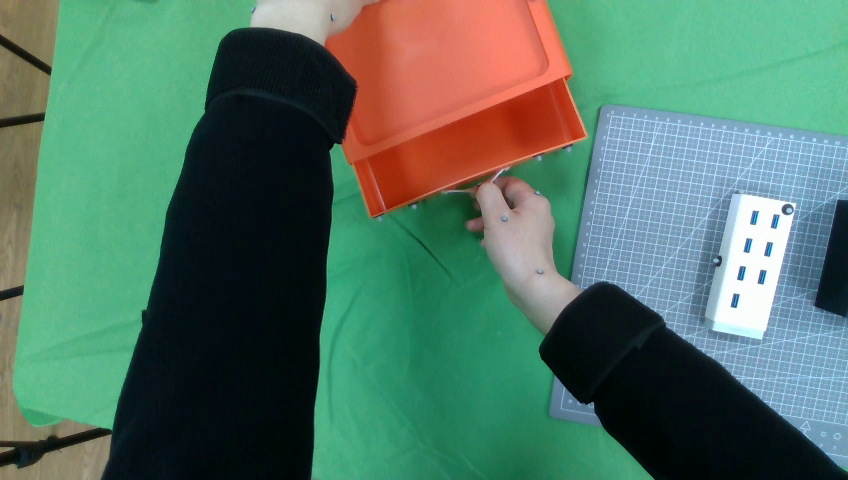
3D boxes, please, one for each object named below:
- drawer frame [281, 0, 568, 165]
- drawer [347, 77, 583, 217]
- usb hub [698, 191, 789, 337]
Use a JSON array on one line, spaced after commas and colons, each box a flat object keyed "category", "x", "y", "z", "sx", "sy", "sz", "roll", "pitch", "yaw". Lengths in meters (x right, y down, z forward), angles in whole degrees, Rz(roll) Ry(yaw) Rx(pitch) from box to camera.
[{"category": "drawer frame", "x": -0.010, "y": -0.196, "z": 0.522, "sx": 0.201, "sy": 0.083, "sz": 0.213, "roll": -21, "pitch": 93, "yaw": 6}, {"category": "drawer", "x": 0.008, "y": -0.148, "z": 0.527, "sx": 0.194, "sy": 0.073, "sz": 0.212, "roll": -20, "pitch": 93, "yaw": 6}, {"category": "usb hub", "x": 0.288, "y": 0.022, "z": 0.547, "sx": 0.049, "sy": 0.025, "sz": 0.125, "roll": 10, "pitch": 96, "yaw": 3}]
